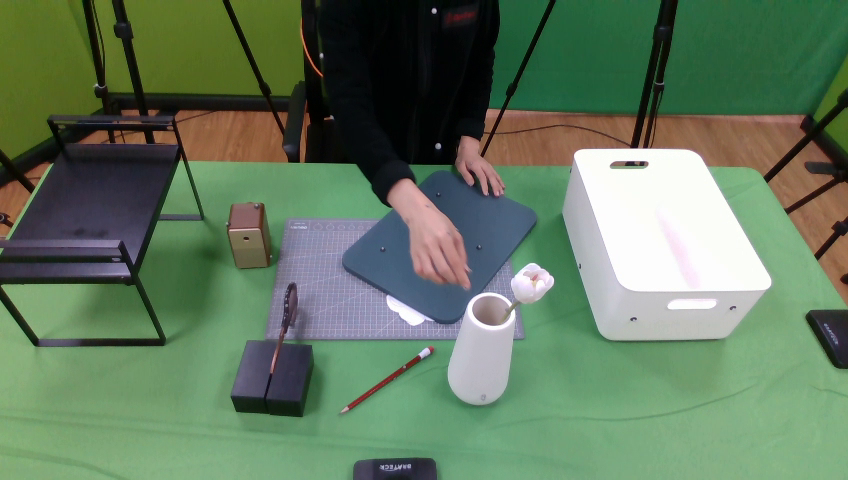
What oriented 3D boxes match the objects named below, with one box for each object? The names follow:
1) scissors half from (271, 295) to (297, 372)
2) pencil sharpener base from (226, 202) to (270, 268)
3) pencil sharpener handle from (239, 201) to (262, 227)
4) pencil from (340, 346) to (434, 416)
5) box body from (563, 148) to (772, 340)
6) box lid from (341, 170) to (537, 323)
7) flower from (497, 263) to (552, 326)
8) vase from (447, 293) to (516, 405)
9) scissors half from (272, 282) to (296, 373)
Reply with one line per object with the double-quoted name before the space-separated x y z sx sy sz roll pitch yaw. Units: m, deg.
"scissors half" -0.230 0.154 1.000 0.013 0.040 0.174 1 34 1
"pencil sharpener base" -0.323 -0.010 1.123 0.061 0.107 0.076 -3 46 -7
"pencil sharpener handle" -0.325 -0.055 1.149 0.036 0.068 0.030 -13 46 4
"pencil" -0.058 0.228 0.984 0.194 0.012 0.012 -32 56 -28
"box body" 0.421 0.003 1.130 0.254 0.161 0.361 0 46 -5
"box lid" 0.038 -0.004 1.210 0.262 0.015 0.371 27 49 21
"flower" 0.103 0.121 0.853 0.044 0.363 0.038 -2 64 -10
"vase" 0.091 0.169 0.921 0.098 0.201 0.097 3 47 -3
"scissors half" -0.229 0.139 0.986 0.013 0.040 0.174 4 50 -3
